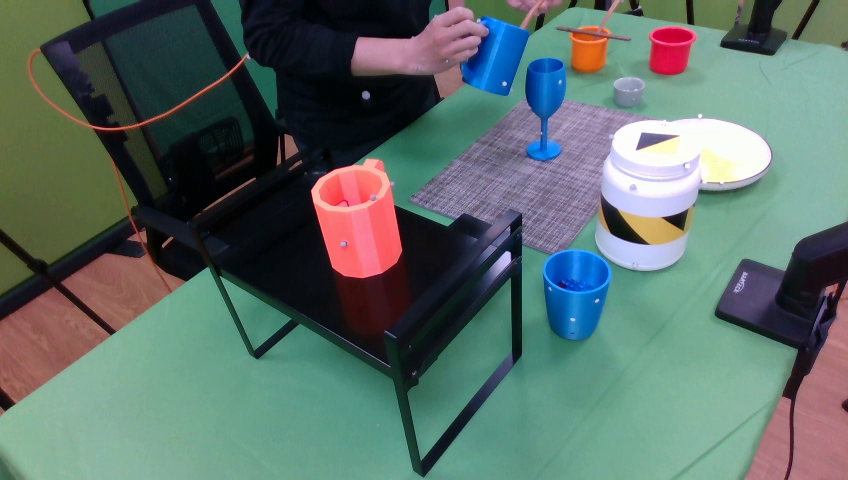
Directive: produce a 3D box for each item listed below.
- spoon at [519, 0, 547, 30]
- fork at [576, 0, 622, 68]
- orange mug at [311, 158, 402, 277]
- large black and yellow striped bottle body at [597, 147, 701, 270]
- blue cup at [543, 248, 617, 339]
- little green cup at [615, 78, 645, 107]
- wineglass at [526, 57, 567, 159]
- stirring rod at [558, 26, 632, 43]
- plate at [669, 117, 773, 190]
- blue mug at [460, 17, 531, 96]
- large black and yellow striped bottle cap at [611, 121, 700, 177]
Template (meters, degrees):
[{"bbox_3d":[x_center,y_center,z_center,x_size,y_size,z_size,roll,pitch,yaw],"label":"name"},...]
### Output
[{"bbox_3d":[0.175,-0.361,0.981,0.193,0.022,0.041,-54,33,8],"label":"spoon"},{"bbox_3d":[0.409,-0.484,1.381,0.028,0.019,0.207,37,101,46],"label":"fork"},{"bbox_3d":[-0.070,-0.034,0.694,0.083,0.101,0.126,5,46,16],"label":"orange mug"},{"bbox_3d":[0.323,-0.062,0.877,0.131,0.185,0.130,-5,40,4],"label":"large black and yellow striped bottle body"},{"bbox_3d":[0.199,0.076,0.797,0.092,0.100,0.092,-4,39,4],"label":"blue cup"},{"bbox_3d":[0.426,-0.306,1.257,0.061,0.039,0.061,-4,40,4],"label":"little green cup"},{"bbox_3d":[0.221,-0.237,1.097,0.074,0.173,0.073,-4,41,4],"label":"wineglass"},{"bbox_3d":[0.381,-0.462,1.356,0.175,0.006,0.014,23,48,29],"label":"stirring rod"},{"bbox_3d":[0.495,-0.149,1.063,0.209,0.038,0.208,-5,40,4],"label":"plate"},{"bbox_3d":[0.105,-0.300,0.979,0.117,0.106,0.081,-1,29,-40],"label":"blue mug"},{"bbox_3d":[0.315,-0.126,0.823,0.115,0.019,0.114,-4,42,4],"label":"large black and yellow striped bottle cap"}]
